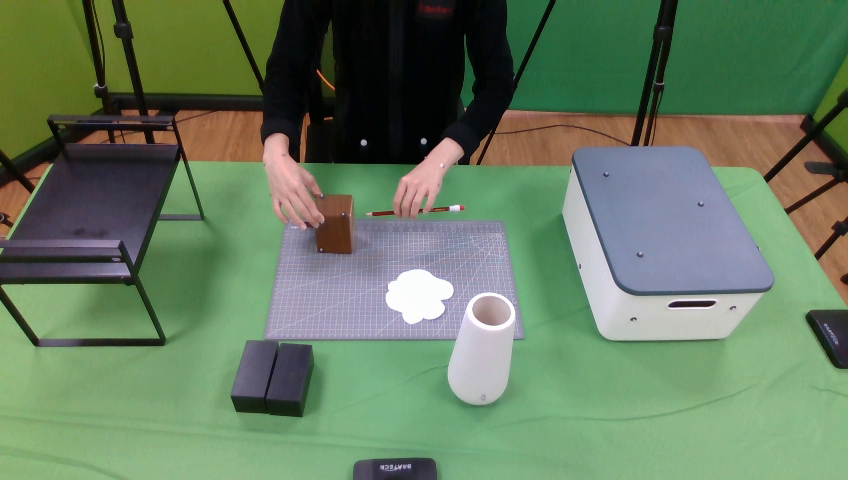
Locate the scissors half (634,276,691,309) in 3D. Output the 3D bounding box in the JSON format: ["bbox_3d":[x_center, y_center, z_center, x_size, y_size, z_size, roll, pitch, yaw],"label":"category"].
[{"bbox_3d":[0.454,0.096,1.144,0.175,0.040,0.013,-20,89,-31],"label":"scissors half"}]

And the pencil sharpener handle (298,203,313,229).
[{"bbox_3d":[-0.225,-0.043,1.141,0.030,0.068,0.036,1,56,-2],"label":"pencil sharpener handle"}]

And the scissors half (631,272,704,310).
[{"bbox_3d":[0.460,0.092,1.132,0.175,0.040,0.013,-22,83,-21],"label":"scissors half"}]

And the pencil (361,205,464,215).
[{"bbox_3d":[-0.021,-0.055,1.140,0.194,0.012,0.012,-4,47,-6],"label":"pencil"}]

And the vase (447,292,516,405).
[{"bbox_3d":[0.091,0.168,0.921,0.098,0.201,0.097,3,47,-3],"label":"vase"}]

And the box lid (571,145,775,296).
[{"bbox_3d":[0.424,-0.048,1.074,0.263,0.015,0.369,-1,47,-4],"label":"box lid"}]

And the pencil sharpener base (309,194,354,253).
[{"bbox_3d":[-0.174,-0.031,1.151,0.077,0.107,0.061,1,47,-2],"label":"pencil sharpener base"}]

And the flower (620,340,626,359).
[{"bbox_3d":[0.416,0.065,1.186,0.038,0.044,0.360,29,64,-20],"label":"flower"}]

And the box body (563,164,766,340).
[{"bbox_3d":[0.421,0.003,1.130,0.254,0.161,0.361,0,46,-5],"label":"box body"}]
